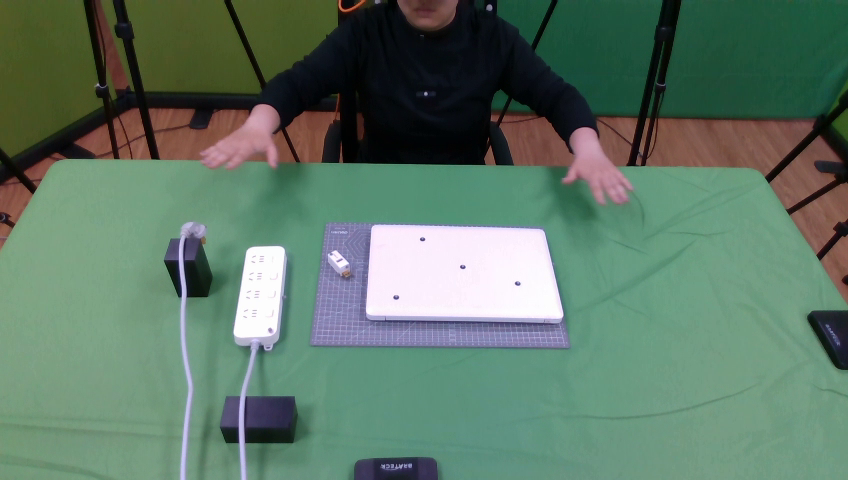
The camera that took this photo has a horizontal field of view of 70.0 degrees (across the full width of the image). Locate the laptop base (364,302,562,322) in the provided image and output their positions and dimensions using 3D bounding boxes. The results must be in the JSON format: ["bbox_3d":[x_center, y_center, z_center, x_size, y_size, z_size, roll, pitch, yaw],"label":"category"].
[{"bbox_3d":[0.070,0.063,1.145,0.354,0.023,0.234,1,43,-3],"label":"laptop base"}]

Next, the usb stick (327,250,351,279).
[{"bbox_3d":[-0.158,0.047,1.133,0.021,0.027,0.059,-29,58,-27],"label":"usb stick"}]

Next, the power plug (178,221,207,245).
[{"bbox_3d":[-0.413,-0.003,1.069,0.035,0.053,0.072,-1,42,24],"label":"power plug"}]

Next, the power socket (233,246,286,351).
[{"bbox_3d":[-0.290,0.094,1.077,0.072,0.033,0.225,-2,46,-5],"label":"power socket"}]

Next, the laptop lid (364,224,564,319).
[{"bbox_3d":[0.070,0.053,1.138,0.357,0.013,0.240,3,44,-2],"label":"laptop lid"}]
